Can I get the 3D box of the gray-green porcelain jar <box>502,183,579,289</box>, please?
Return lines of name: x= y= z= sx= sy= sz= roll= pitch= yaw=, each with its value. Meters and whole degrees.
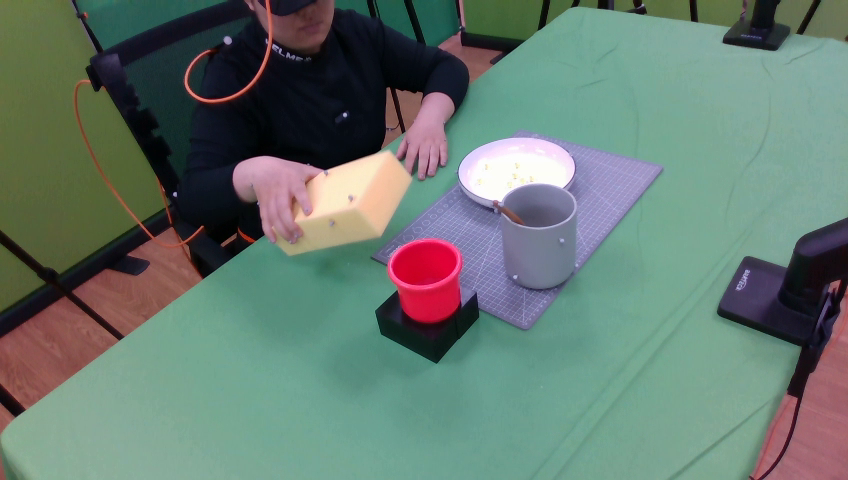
gray-green porcelain jar: x=0.166 y=-0.001 z=0.866 sx=0.106 sy=0.127 sz=0.105 roll=-5 pitch=40 yaw=5

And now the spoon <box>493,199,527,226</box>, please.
spoon: x=0.135 y=-0.016 z=0.831 sx=0.021 sy=0.195 sz=0.041 roll=-49 pitch=53 yaw=-1

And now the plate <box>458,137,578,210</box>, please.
plate: x=0.166 y=-0.113 z=1.068 sx=0.207 sy=0.039 sz=0.206 roll=-5 pitch=40 yaw=5

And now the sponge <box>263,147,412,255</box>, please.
sponge: x=-0.130 y=-0.053 z=0.892 sx=0.205 sy=0.061 sz=0.118 roll=-12 pitch=41 yaw=38
